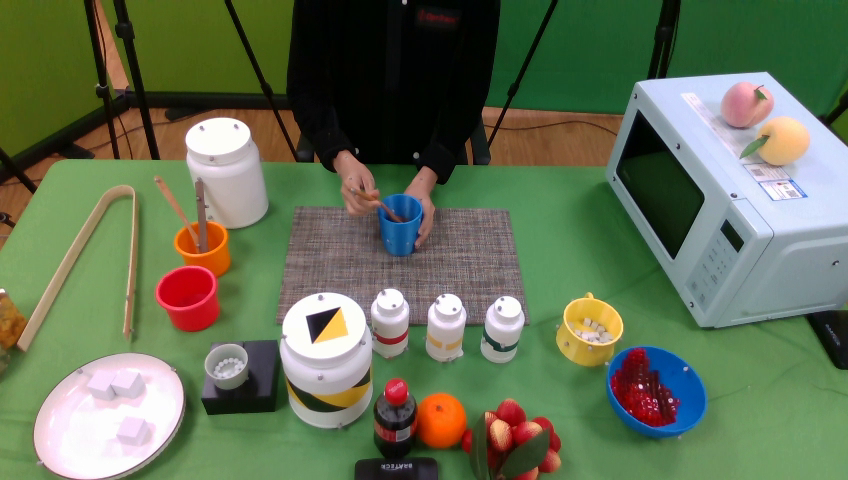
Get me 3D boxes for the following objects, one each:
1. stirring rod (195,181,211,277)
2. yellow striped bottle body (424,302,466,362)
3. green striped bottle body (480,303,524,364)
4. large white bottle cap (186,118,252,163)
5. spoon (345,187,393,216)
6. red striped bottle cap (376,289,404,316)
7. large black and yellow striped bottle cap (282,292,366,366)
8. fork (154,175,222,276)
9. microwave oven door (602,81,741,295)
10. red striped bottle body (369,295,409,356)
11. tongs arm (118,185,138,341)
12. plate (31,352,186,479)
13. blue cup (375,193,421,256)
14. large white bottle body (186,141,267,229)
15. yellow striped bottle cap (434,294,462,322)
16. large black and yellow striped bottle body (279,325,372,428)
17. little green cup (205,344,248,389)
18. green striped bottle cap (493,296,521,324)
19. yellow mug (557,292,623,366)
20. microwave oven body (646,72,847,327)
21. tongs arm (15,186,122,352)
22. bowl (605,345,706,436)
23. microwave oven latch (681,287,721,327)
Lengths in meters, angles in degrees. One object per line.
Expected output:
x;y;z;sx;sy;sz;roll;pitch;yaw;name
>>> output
-0.403;-0.020;1.104;0.014;0.006;0.176;-6;89;-8;stirring rod
0.035;0.143;0.995;0.063;0.121;0.062;3;46;-3;yellow striped bottle body
0.129;0.147;1.000;0.063;0.120;0.063;2;46;-2;green striped bottle body
-0.377;-0.185;1.115;0.115;0.018;0.114;2;47;-2;large white bottle cap
-0.081;-0.060;1.100;0.021;0.195;0.041;-51;53;3;spoon
-0.055;0.098;0.958;0.044;0.018;0.044;0;48;1;red striped bottle cap
-0.138;0.121;0.841;0.115;0.019;0.114;3;47;-3;large black and yellow striped bottle cap
-0.431;-0.026;1.101;0.028;0.018;0.207;-33;100;-25;fork
0.456;-0.107;1.162;0.039;0.245;0.353;-7;47;-11;microwave oven door
-0.059;0.134;0.997;0.063;0.120;0.062;5;48;-5;red striped bottle body
-0.555;0.028;1.116;0.051;0.026;0.382;-11;47;-8;tongs arm
-0.459;0.262;0.898;0.209;0.038;0.208;2;46;-2;plate
-0.048;-0.023;1.157;0.093;0.101;0.092;1;47;-1;blue cup
-0.382;-0.127;1.175;0.131;0.185;0.130;2;47;-2;large white bottle body
0.038;0.107;0.958;0.044;0.019;0.044;2;45;-2;yellow striped bottle cap
-0.143;0.181;0.900;0.131;0.185;0.130;2;46;-2;large black and yellow striped bottle body
-0.293;0.191;0.909;0.061;0.039;0.061;1;47;-1;little green cup
0.133;0.111;0.962;0.044;0.020;0.044;2;47;-2;green striped bottle cap
0.285;0.145;1.051;0.100;0.064;0.130;7;46;4;yellow mug
0.607;-0.089;1.164;0.326;0.261;0.438;-7;46;-10;microwave oven body
-0.642;0.036;1.107;0.028;0.028;0.385;-2;46;5;tongs arm
0.351;0.248;0.950;0.151;0.077;0.150;2;46;-2;bowl
0.494;0.119;1.087;0.030;0.029;0.078;-6;46;-9;microwave oven latch
